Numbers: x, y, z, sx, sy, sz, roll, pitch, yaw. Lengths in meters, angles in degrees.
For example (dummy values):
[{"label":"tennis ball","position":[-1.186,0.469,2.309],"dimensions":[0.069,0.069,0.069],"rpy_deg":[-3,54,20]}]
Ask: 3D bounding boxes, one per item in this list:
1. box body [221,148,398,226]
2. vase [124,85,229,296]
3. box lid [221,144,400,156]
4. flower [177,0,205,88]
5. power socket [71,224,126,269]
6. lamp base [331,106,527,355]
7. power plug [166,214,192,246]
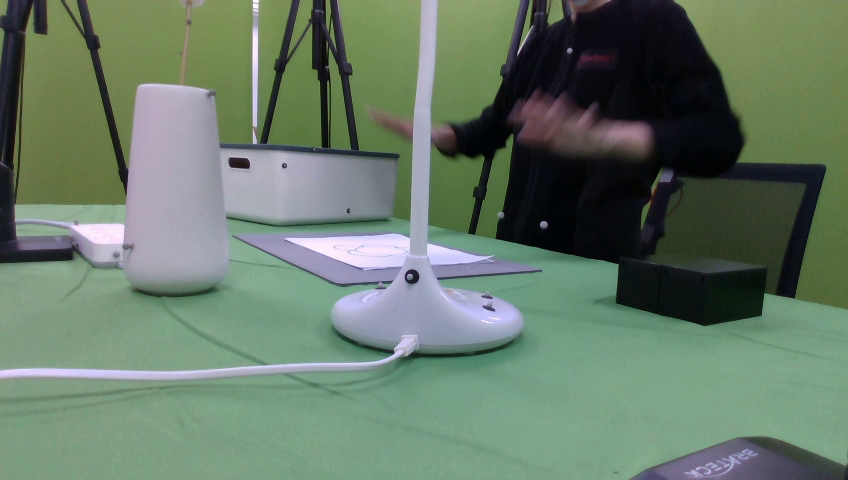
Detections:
[{"label":"box body","position":[-0.264,-0.129,1.380],"dimensions":[0.253,0.160,0.366],"rpy_deg":[8,9,39]},{"label":"vase","position":[-0.244,-0.047,0.598],"dimensions":[0.098,0.200,0.098],"rpy_deg":[3,8,0]},{"label":"box lid","position":[-0.263,-0.202,1.369],"dimensions":[0.262,0.015,0.373],"rpy_deg":[9,10,39]},{"label":"flower","position":[-0.243,-0.131,0.609],"dimensions":[0.044,0.361,0.038],"rpy_deg":[-5,-12,12]},{"label":"power socket","position":[-0.409,0.004,0.792],"dimensions":[0.072,0.032,0.225],"rpy_deg":[-2,8,-37]},{"label":"lamp base","position":[0.006,-0.012,0.478],"dimensions":[0.161,0.180,0.179],"rpy_deg":[2,10,2]},{"label":"power plug","position":[-0.364,-0.009,0.910],"dimensions":[0.035,0.052,0.072],"rpy_deg":[10,-21,-3]}]
